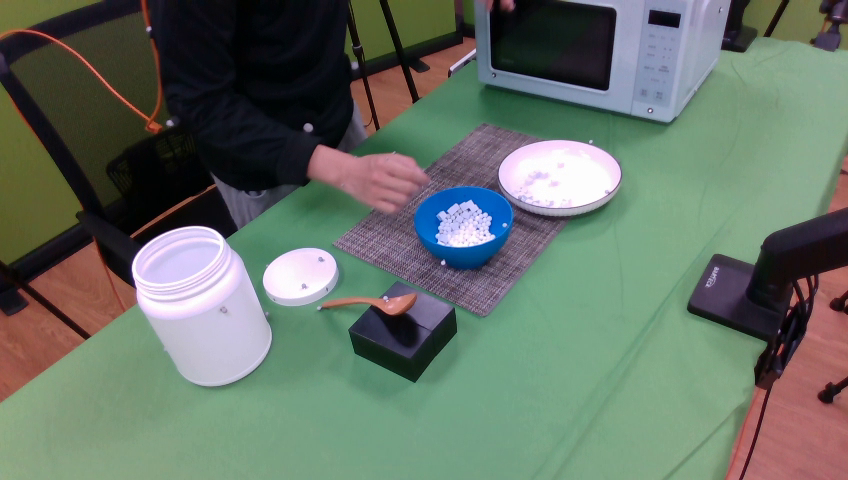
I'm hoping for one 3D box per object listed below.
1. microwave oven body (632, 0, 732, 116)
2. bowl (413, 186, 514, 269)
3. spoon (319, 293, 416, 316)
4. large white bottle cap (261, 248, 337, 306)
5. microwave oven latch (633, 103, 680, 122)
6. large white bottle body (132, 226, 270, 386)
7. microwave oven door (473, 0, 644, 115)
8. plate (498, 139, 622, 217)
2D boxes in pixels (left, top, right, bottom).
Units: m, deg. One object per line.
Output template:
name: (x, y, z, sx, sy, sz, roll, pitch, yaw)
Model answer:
microwave oven body: (0.377, -0.463, 1.267, 0.438, 0.261, 0.327, 21, 49, 30)
bowl: (0.062, -0.008, 0.920, 0.151, 0.077, 0.150, -4, 40, 4)
spoon: (-0.082, 0.086, 0.827, 0.192, 0.022, 0.041, -3, 37, 41)
large white bottle cap: (-0.193, 0.056, 0.934, 0.115, 0.018, 0.114, -4, 41, 4)
microwave oven latch: (0.443, -0.249, 1.157, 0.078, 0.029, 0.030, 21, 49, 30)
large white bottle body: (-0.286, 0.085, 0.783, 0.130, 0.185, 0.130, -4, 41, 4)
microwave oven door: (0.257, -0.396, 1.199, 0.353, 0.245, 0.039, 21, 48, 29)
plate: (0.231, -0.103, 1.038, 0.209, 0.038, 0.208, -4, 41, 4)
